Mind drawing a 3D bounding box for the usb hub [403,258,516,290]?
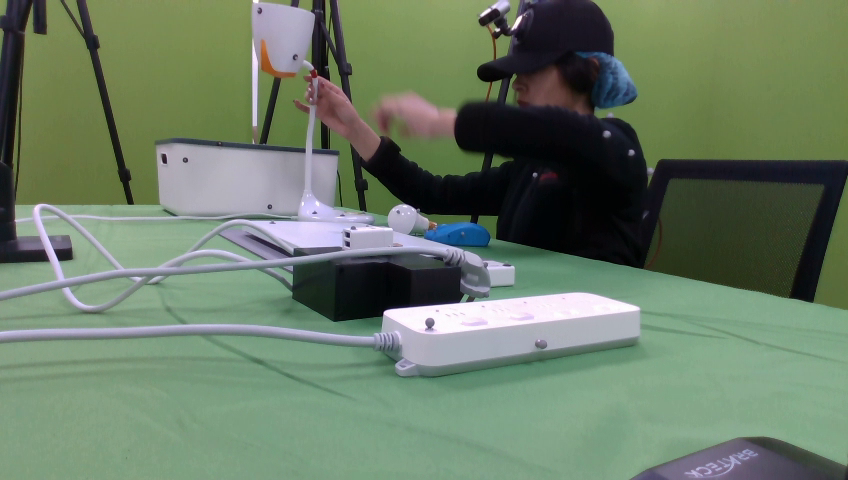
[{"bbox_3d":[0.042,0.038,0.690,0.126,0.025,0.049,-2,10,-30],"label":"usb hub"}]

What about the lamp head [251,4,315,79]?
[{"bbox_3d":[-0.258,-0.358,1.103,0.112,0.123,0.112,5,16,-1],"label":"lamp head"}]

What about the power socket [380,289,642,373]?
[{"bbox_3d":[0.072,0.064,0.461,0.228,0.032,0.072,-2,8,-30],"label":"power socket"}]

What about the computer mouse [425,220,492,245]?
[{"bbox_3d":[0.060,-0.013,1.060,0.117,0.041,0.062,-2,10,-6],"label":"computer mouse"}]

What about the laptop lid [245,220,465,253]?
[{"bbox_3d":[-0.124,-0.009,0.945,0.243,0.013,0.355,1,7,-29],"label":"laptop lid"}]

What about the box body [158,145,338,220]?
[{"bbox_3d":[-0.410,-0.139,1.414,0.366,0.160,0.253,-3,8,-33],"label":"box body"}]

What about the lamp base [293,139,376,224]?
[{"bbox_3d":[-0.194,-0.121,1.256,0.179,0.180,0.161,-1,7,7],"label":"lamp base"}]

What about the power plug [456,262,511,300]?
[{"bbox_3d":[0.051,0.050,0.543,0.035,0.052,0.072,7,37,-20],"label":"power plug"}]

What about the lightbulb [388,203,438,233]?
[{"bbox_3d":[-0.017,-0.034,1.162,0.108,0.059,0.059,16,0,-28],"label":"lightbulb"}]

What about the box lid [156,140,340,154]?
[{"bbox_3d":[-0.409,-0.213,1.404,0.373,0.015,0.262,-2,8,-32],"label":"box lid"}]

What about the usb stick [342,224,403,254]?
[{"bbox_3d":[-0.047,-0.001,0.567,0.059,0.027,0.021,0,5,-32],"label":"usb stick"}]

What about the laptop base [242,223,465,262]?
[{"bbox_3d":[-0.126,0.003,0.945,0.237,0.023,0.352,2,6,-31],"label":"laptop base"}]
